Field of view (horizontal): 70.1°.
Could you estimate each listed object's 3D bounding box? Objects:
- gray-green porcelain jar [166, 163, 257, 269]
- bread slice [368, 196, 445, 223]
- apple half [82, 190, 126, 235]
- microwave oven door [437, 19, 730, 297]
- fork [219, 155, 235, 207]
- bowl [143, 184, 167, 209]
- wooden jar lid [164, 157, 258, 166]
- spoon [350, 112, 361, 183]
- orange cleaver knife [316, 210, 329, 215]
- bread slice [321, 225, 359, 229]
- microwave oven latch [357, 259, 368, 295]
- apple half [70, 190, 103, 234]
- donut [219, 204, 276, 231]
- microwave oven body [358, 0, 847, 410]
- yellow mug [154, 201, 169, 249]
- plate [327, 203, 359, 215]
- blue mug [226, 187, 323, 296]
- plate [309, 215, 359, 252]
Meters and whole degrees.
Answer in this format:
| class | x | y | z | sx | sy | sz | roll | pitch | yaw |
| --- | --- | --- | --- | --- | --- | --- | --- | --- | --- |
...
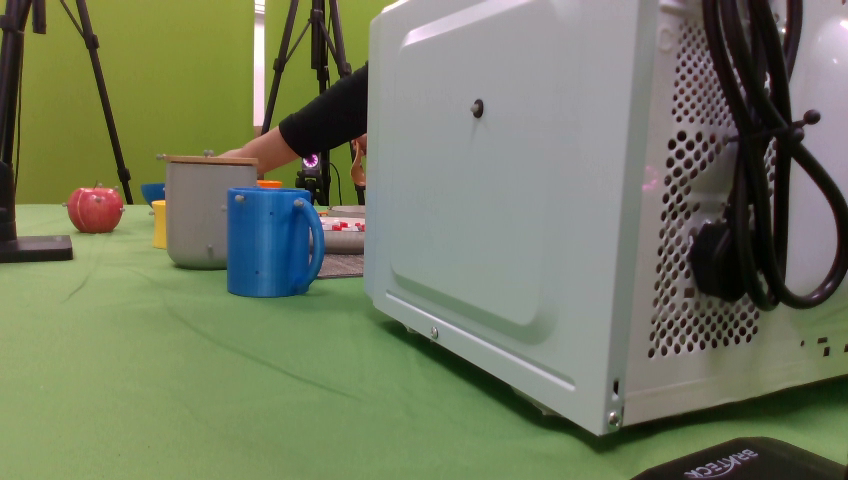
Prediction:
| class | x | y | z | sx | sy | sz | roll | pitch | yaw |
| --- | --- | --- | --- | --- | --- | --- | --- | --- | --- |
| gray-green porcelain jar | -0.263 | -0.031 | 0.754 | 0.106 | 0.126 | 0.106 | 2 | 7 | 0 |
| bread slice | -0.040 | -0.057 | 1.142 | 0.107 | 0.018 | 0.133 | -8 | -8 | -40 |
| apple half | -0.517 | -0.046 | 0.994 | 0.032 | 0.081 | 0.081 | 0 | 6 | 26 |
| microwave oven door | 0.180 | -0.076 | 0.618 | 0.358 | 0.243 | 0.039 | -2 | 9 | -28 |
| fork | -0.459 | -0.134 | 1.415 | 0.028 | 0.018 | 0.207 | -1 | -34 | -24 |
| bowl | -0.459 | -0.072 | 1.173 | 0.151 | 0.077 | 0.151 | -3 | 6 | 1 |
| wooden jar lid | -0.261 | -0.093 | 0.746 | 0.108 | 0.020 | 0.108 | 1 | 9 | 0 |
| spoon | -0.144 | -0.203 | 1.316 | 0.042 | 0.193 | 0.021 | 16 | -32 | -36 |
| orange cleaver knife | -0.259 | -0.064 | 1.423 | 0.212 | 0.012 | 0.077 | -4 | 3 | -30 |
| bread slice | -0.125 | -0.009 | 0.937 | 0.131 | 0.019 | 0.105 | 5 | 8 | 32 |
| microwave oven latch | -0.019 | 0.031 | 0.529 | 0.079 | 0.029 | 0.030 | -1 | 7 | -26 |
| apple half | -0.552 | -0.047 | 1.009 | 0.053 | 0.074 | 0.081 | -1 | 9 | 26 |
| donut | -0.316 | -0.039 | 1.083 | 0.099 | 0.048 | 0.099 | 3 | 7 | 0 |
| microwave oven body | 0.210 | -0.051 | 0.471 | 0.444 | 0.260 | 0.324 | -1 | 7 | -28 |
| yellow mug | -0.337 | -0.022 | 0.899 | 0.130 | 0.064 | 0.100 | 8 | 9 | 34 |
| plate | -0.102 | -0.053 | 1.299 | 0.209 | 0.038 | 0.209 | 2 | 8 | 0 |
| blue mug | -0.148 | 0.000 | 0.618 | 0.116 | 0.106 | 0.083 | 7 | 9 | 33 |
| plate | -0.130 | -0.011 | 0.945 | 0.208 | 0.039 | 0.207 | 2 | 8 | 0 |
